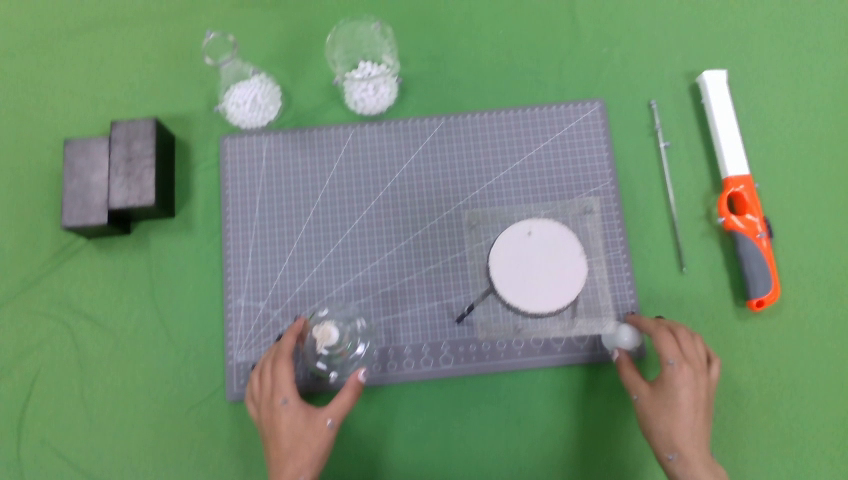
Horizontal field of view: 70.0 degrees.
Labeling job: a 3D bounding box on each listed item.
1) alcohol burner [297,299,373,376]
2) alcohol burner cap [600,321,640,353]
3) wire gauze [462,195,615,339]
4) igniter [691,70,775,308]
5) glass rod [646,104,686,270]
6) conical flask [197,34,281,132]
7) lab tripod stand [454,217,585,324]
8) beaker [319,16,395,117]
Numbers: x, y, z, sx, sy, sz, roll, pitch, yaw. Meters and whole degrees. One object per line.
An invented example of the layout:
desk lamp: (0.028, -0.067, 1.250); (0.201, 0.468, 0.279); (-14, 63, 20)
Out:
alcohol burner: (-0.091, 0.096, 0.601); (0.078, 0.119, 0.077); (0, 79, 0)
alcohol burner cap: (0.206, 0.098, 0.626); (0.034, 0.048, 0.033); (1, 76, -4)
wire gauze: (0.100, 0.024, 0.536); (0.125, 0.011, 0.121); (-5, 79, 1)
igniter: (0.345, -0.062, 0.679); (0.057, 0.025, 0.275); (-5, 78, -12)
glass rod: (0.274, -0.063, 0.688); (0.008, 0.008, 0.198); (-6, 77, -1)
conical flask: (-0.205, -0.174, 0.658); (0.075, 0.122, 0.075); (0, 77, 0)
lab tripod stand: (0.097, 0.040, 0.601); (0.148, 0.132, 0.148); (0, 79, 1)
beaker: (-0.067, -0.185, 0.672); (0.084, 0.100, 0.074); (30, 80, 6)
